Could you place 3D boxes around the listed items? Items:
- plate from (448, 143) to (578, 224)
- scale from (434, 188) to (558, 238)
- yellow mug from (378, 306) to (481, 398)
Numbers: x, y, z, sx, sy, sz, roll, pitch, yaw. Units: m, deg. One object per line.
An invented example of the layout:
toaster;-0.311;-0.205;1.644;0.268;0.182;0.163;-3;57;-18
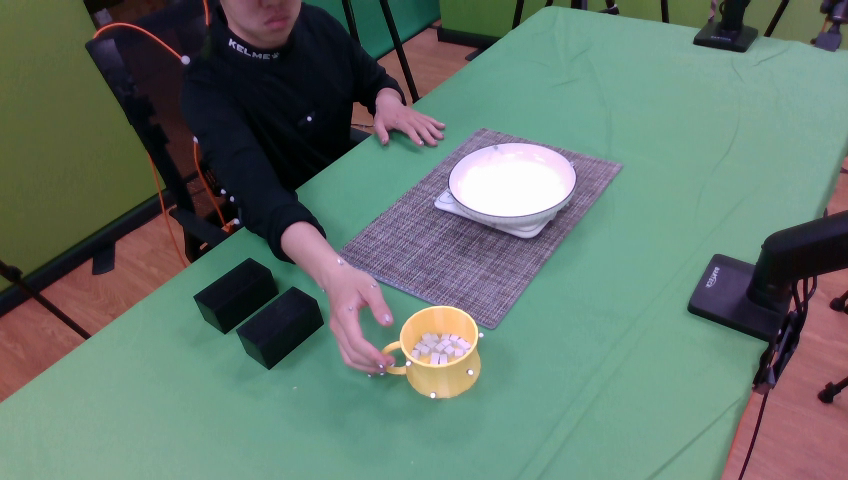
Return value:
plate;0.145;-0.089;0.989;0.209;0.038;0.208;-4;41;4
scale;0.132;-0.075;1.025;0.199;0.032;0.149;22;48;30
yellow mug;0.006;0.143;0.767;0.131;0.064;0.099;-10;40;-2
